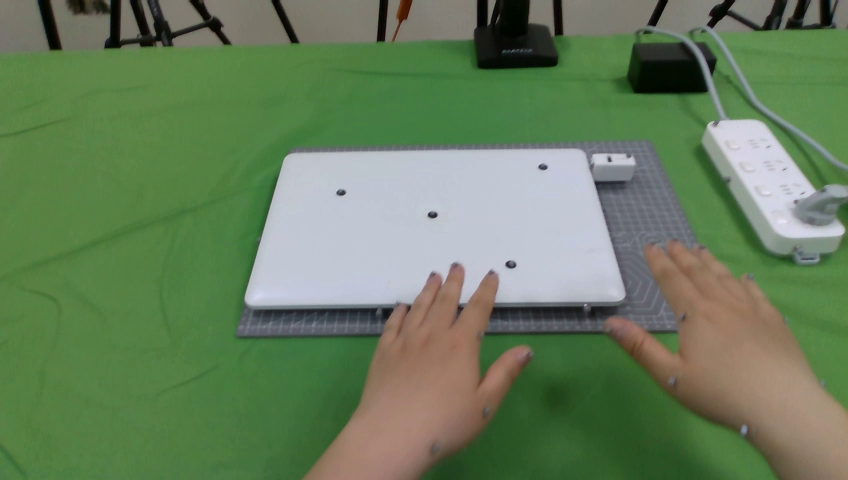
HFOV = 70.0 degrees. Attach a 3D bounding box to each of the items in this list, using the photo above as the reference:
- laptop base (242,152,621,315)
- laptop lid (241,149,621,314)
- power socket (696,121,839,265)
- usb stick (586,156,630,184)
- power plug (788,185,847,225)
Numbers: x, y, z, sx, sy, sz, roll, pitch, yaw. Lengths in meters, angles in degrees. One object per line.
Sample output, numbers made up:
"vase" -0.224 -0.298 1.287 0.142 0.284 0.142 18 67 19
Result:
"laptop base" 0.007 -0.013 0.640 0.354 0.023 0.233 -1 47 1
"laptop lid" 0.006 -0.020 0.630 0.357 0.013 0.239 0 46 2
"power socket" 0.371 -0.063 0.669 0.072 0.033 0.224 -1 43 -1
"usb stick" 0.200 -0.079 0.685 0.059 0.027 0.021 -2 42 4
"power plug" 0.402 -0.027 0.601 0.072 0.053 0.035 7 45 5
